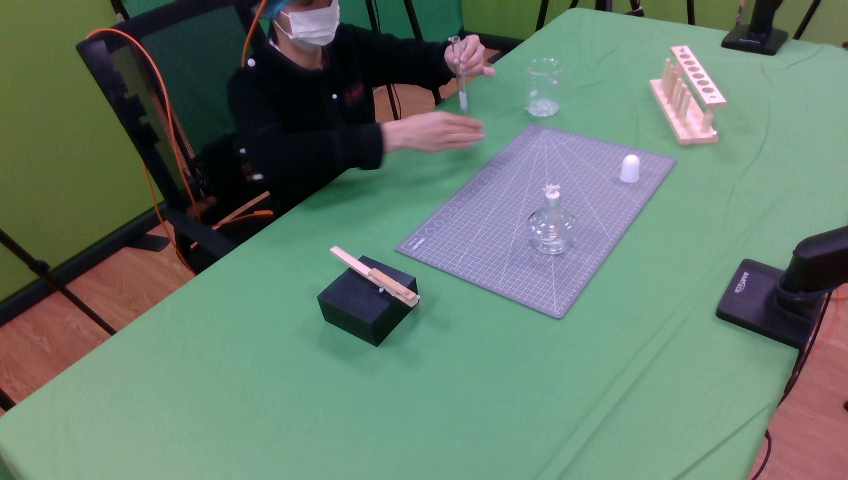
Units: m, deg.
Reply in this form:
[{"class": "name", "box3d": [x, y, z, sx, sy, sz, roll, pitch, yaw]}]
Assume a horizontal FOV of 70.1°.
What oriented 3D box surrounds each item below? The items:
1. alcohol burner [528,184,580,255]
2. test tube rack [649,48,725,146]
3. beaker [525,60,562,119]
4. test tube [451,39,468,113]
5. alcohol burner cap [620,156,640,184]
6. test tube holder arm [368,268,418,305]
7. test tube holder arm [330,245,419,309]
[{"class": "alcohol burner", "box3d": [0.196, -0.036, 0.911, 0.078, 0.119, 0.077, -6, 41, 5]}, {"class": "test tube rack", "box3d": [0.508, -0.285, 1.186, 0.067, 0.085, 0.241, -4, 40, 6]}, {"class": "beaker", "box3d": [0.248, -0.309, 1.245, 0.084, 0.101, 0.073, -36, 47, -30]}, {"class": "test tube", "box3d": [0.065, -0.293, 1.094, 0.017, 0.151, 0.017, -6, 48, 7]}, {"class": "alcohol burner cap", "box3d": [0.358, -0.124, 1.047, 0.034, 0.048, 0.033, -4, 40, 4]}, {"class": "test tube holder arm", "box3d": [-0.043, 0.063, 0.827, 0.015, 0.010, 0.087, -37, 47, -29]}, {"class": "test tube holder arm", "box3d": [-0.074, 0.049, 0.857, 0.177, 0.013, 0.015, 30, 53, 36]}]
